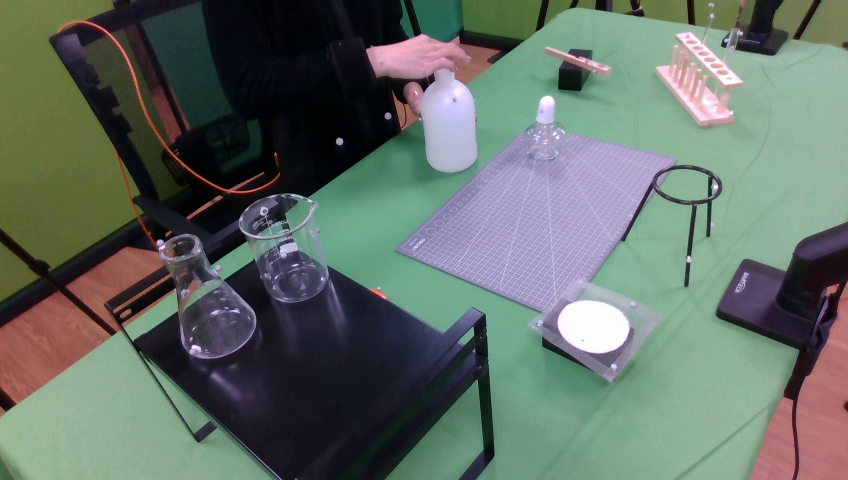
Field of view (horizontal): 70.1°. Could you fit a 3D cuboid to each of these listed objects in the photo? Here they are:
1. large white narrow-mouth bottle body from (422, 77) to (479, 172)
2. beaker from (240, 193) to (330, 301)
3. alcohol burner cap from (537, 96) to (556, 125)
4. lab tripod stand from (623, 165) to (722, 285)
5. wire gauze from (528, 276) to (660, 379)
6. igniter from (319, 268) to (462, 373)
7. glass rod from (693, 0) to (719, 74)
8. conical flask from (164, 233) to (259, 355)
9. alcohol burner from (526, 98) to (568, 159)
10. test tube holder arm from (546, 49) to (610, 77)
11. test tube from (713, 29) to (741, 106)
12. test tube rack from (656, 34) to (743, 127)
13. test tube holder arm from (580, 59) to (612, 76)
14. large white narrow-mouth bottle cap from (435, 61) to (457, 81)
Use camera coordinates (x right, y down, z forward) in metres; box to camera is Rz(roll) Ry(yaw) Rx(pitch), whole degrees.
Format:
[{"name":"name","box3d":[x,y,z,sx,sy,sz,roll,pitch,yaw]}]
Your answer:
[{"name":"large white narrow-mouth bottle body","box3d":[0.047,-0.229,1.111,0.102,0.195,0.101,-4,41,4]},{"name":"beaker","box3d":[-0.144,0.009,0.656,0.084,0.101,0.073,-25,43,-19]},{"name":"alcohol burner cap","box3d":[0.223,-0.237,1.095,0.034,0.048,0.033,-1,42,1]},{"name":"lab tripod stand","box3d":[0.365,-0.030,0.874,0.148,0.132,0.147,-6,41,6]},{"name":"wire gauze","box3d":[0.213,0.103,0.763,0.124,0.011,0.122,30,52,35]},{"name":"igniter","box3d":[-0.059,0.107,0.862,0.274,0.025,0.057,27,62,35]},{"name":"glass rod","box3d":[0.561,-0.401,1.214,0.008,0.200,0.008,-1,48,2]},{"name":"conical flask","box3d":[-0.216,0.051,0.601,0.075,0.122,0.075,-4,40,4]},{"name":"alcohol burner","box3d":[0.228,-0.210,1.118,0.078,0.119,0.077,-5,43,5]},{"name":"test tube holder arm","box3d":[0.331,-0.387,1.315,0.013,0.015,0.177,-26,43,-28]},{"name":"test tube","box3d":[0.572,-0.324,1.146,0.017,0.151,0.017,-3,40,3]},{"name":"test tube rack","box3d":[0.553,-0.331,1.233,0.067,0.085,0.241,-7,40,2]},{"name":"test tube holder arm","box3d":[0.363,-0.369,1.289,0.010,0.015,0.087,-27,43,-29]},{"name":"large white narrow-mouth bottle cap","box3d":[0.038,-0.295,1.052,0.038,0.024,0.037,-4,40,4]}]
